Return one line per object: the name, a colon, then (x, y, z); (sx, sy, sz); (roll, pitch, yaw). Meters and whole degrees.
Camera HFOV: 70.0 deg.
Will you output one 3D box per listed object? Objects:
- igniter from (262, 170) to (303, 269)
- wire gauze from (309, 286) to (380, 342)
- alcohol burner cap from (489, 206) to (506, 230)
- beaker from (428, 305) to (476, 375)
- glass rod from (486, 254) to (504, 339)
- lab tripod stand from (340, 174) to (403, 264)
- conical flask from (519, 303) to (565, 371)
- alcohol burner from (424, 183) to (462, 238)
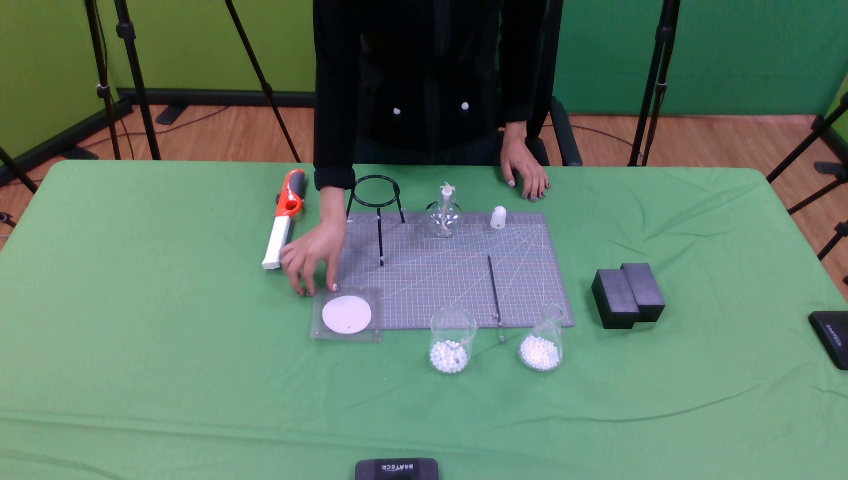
igniter: (-0.283, -0.050, 1.222); (0.057, 0.025, 0.275); (-5, 45, 6)
wire gauze: (-0.140, 0.128, 1.072); (0.125, 0.011, 0.120); (2, 43, -5)
alcohol burner cap: (0.152, -0.047, 1.241); (0.034, 0.048, 0.033); (2, 45, -2)
beaker: (0.044, 0.169, 0.987); (0.074, 0.101, 0.083); (1, 47, -3)
glass rod: (0.130, 0.099, 1.119); (0.008, 0.008, 0.198); (-1, 46, -4)
lab tripod stand: (-0.093, -0.050, 1.160); (0.148, 0.132, 0.147); (2, 44, -2)
conical flask: (0.201, 0.155, 0.997); (0.075, 0.122, 0.075); (2, 46, -2)
alcohol burner: (0.039, -0.063, 1.197); (0.078, 0.119, 0.077); (3, 44, -2)
